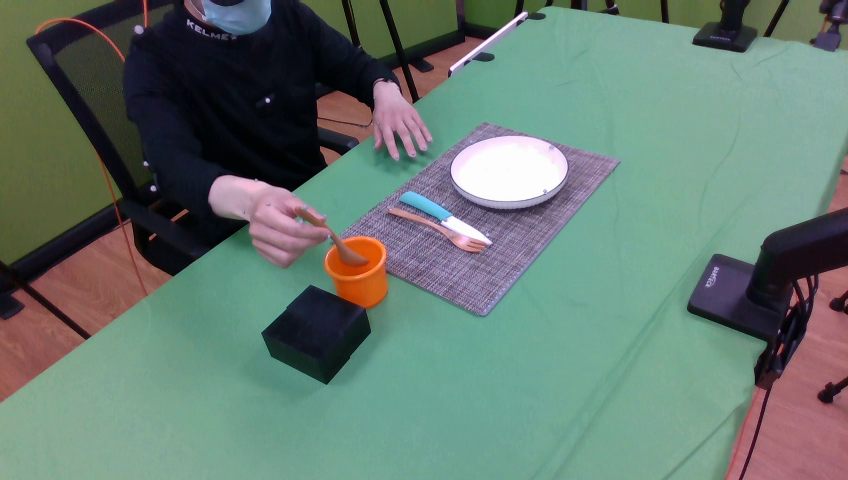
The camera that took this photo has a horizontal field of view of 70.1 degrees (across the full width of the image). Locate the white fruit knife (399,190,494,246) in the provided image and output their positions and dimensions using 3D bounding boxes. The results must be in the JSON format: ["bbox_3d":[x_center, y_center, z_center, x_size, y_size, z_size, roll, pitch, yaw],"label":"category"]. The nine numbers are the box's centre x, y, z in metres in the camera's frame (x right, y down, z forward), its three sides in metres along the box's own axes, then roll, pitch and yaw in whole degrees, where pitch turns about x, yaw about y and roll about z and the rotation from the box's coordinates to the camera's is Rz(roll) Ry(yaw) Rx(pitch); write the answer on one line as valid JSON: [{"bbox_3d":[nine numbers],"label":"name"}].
[{"bbox_3d":[0.036,-0.038,1.009,0.205,0.016,0.027,32,84,34],"label":"white fruit knife"}]

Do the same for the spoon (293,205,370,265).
[{"bbox_3d":[-0.120,-0.003,0.788,0.041,0.195,0.021,-1,65,20],"label":"spoon"}]

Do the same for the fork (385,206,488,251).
[{"bbox_3d":[0.015,-0.022,0.988,0.206,0.019,0.028,24,61,30],"label":"fork"}]

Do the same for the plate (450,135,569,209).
[{"bbox_3d":[0.149,-0.117,1.066,0.209,0.038,0.208,-4,41,4],"label":"plate"}]
